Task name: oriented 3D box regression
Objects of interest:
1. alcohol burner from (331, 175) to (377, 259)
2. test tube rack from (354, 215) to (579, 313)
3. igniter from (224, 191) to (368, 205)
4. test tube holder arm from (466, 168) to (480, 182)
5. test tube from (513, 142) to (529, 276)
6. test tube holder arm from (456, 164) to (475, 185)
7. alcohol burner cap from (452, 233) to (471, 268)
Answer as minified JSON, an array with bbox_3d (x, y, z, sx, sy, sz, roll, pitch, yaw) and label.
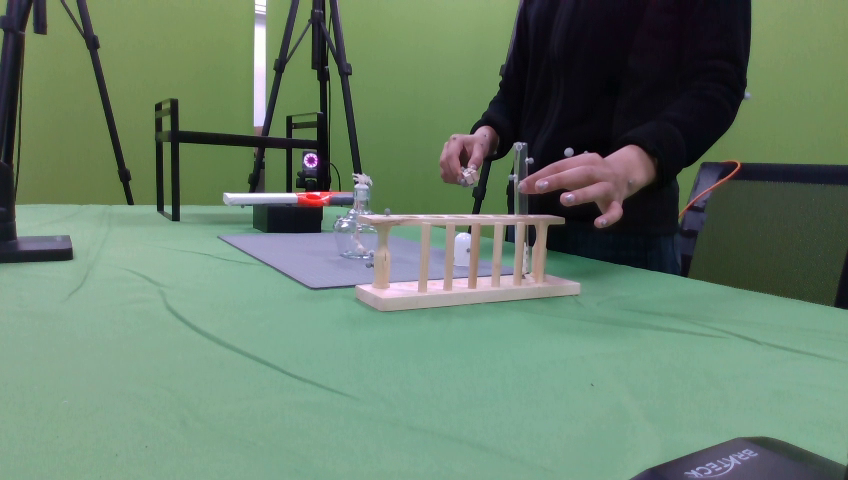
[{"bbox_3d":[-0.091,-0.033,0.855,0.078,0.119,0.078,4,7,0],"label":"alcohol burner"},{"bbox_3d":[0.053,0.019,0.635,0.243,0.085,0.066,-1,8,-29],"label":"test tube rack"},{"bbox_3d":[-0.237,-0.079,1.157,0.278,0.025,0.057,-2,21,-32],"label":"igniter"},{"bbox_3d":[0.072,-0.098,0.909,0.010,0.015,0.087,-19,12,-1],"label":"test tube holder arm"},{"bbox_3d":[0.109,-0.033,0.676,0.017,0.150,0.017,-2,9,1],"label":"test tube"},{"bbox_3d":[0.063,-0.105,0.953,0.013,0.015,0.178,-19,12,0],"label":"test tube holder arm"},{"bbox_3d":[0.053,0.014,0.823,0.034,0.048,0.034,2,6,0],"label":"alcohol burner cap"}]
